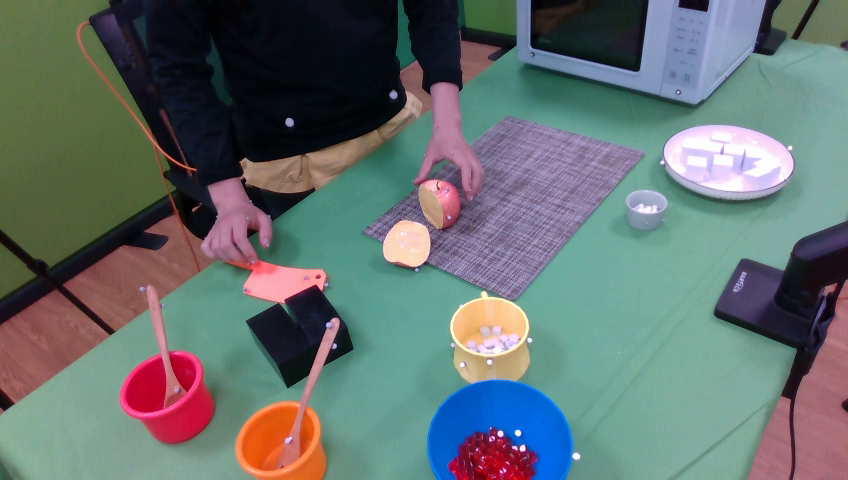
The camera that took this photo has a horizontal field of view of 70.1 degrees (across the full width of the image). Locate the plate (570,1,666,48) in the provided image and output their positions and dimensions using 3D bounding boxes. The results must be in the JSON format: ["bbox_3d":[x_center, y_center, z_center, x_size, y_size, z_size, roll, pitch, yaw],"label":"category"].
[{"bbox_3d":[0.437,-0.484,1.370,0.209,0.038,0.208,-4,42,4],"label":"plate"}]

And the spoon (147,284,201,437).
[{"bbox_3d":[-0.318,0.148,0.754,0.042,0.021,0.193,-15,85,-9],"label":"spoon"}]

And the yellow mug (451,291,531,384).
[{"bbox_3d":[0.085,0.120,0.786,0.100,0.064,0.130,-7,39,1],"label":"yellow mug"}]

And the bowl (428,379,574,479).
[{"bbox_3d":[0.082,0.233,0.644,0.151,0.077,0.150,-4,39,4],"label":"bowl"}]

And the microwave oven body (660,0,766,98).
[{"bbox_3d":[0.472,-0.514,1.317,0.438,0.261,0.327,26,51,34],"label":"microwave oven body"}]

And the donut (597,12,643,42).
[{"bbox_3d":[0.436,-0.476,1.347,0.099,0.048,0.098,-13,30,8],"label":"donut"}]

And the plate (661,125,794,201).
[{"bbox_3d":[0.513,-0.128,1.035,0.207,0.039,0.206,-4,40,4],"label":"plate"}]

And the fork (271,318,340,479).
[{"bbox_3d":[-0.132,0.186,0.676,0.028,0.019,0.207,18,90,28],"label":"fork"}]

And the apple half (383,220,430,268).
[{"bbox_3d":[-0.022,0.009,0.948,0.081,0.033,0.081,-4,73,13],"label":"apple half"}]

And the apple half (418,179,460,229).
[{"bbox_3d":[0.032,-0.062,0.998,0.053,0.075,0.080,-23,39,-24],"label":"apple half"}]

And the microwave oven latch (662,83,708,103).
[{"bbox_3d":[0.518,-0.296,1.204,0.078,0.029,0.030,27,52,35],"label":"microwave oven latch"}]

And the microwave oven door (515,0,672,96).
[{"bbox_3d":[0.343,-0.454,1.259,0.353,0.245,0.039,26,51,33],"label":"microwave oven door"}]

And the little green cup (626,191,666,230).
[{"bbox_3d":[0.352,-0.046,0.963,0.061,0.039,0.061,-4,40,4],"label":"little green cup"}]

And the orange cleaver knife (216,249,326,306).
[{"bbox_3d":[-0.248,0.058,0.945,0.210,0.012,0.077,13,50,20],"label":"orange cleaver knife"}]
